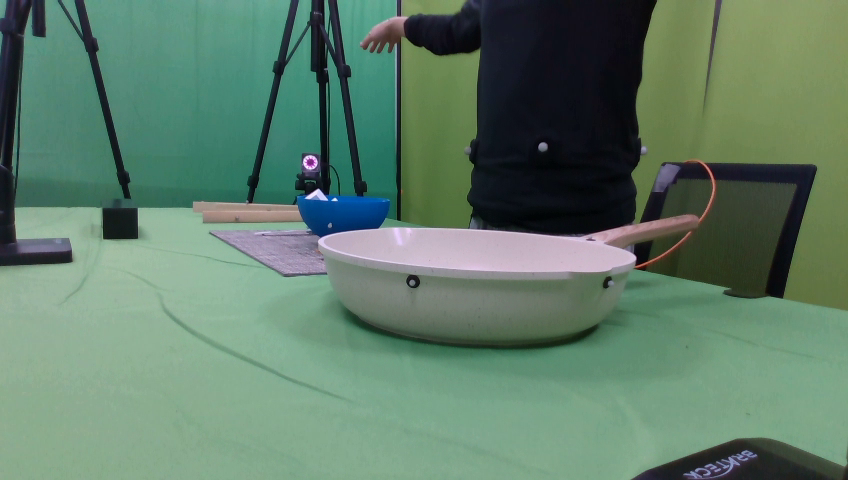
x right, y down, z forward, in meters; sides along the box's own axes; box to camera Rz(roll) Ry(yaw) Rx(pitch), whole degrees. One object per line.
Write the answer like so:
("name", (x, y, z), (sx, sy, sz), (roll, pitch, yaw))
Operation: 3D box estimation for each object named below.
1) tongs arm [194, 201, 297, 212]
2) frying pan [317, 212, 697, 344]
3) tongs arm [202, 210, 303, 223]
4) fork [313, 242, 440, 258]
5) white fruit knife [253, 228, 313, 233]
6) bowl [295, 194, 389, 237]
("tongs arm", (-0.335, -0.071, 1.424), (0.387, 0.026, 0.050), (0, 9, -24))
("frying pan", (0.133, 0.013, 0.630), (0.490, 0.102, 0.305), (-12, 14, -31))
("tongs arm", (-0.298, -0.056, 1.354), (0.390, 0.028, 0.028), (-3, 7, -36))
("fork", (-0.063, 0.013, 0.878), (0.208, 0.018, 0.028), (-5, 2, -34))
("white fruit knife", (-0.206, -0.019, 1.102), (0.208, 0.016, 0.027), (-3, -2, -29))
("bowl", (-0.133, -0.032, 0.980), (0.151, 0.077, 0.151), (2, 7, 0))
